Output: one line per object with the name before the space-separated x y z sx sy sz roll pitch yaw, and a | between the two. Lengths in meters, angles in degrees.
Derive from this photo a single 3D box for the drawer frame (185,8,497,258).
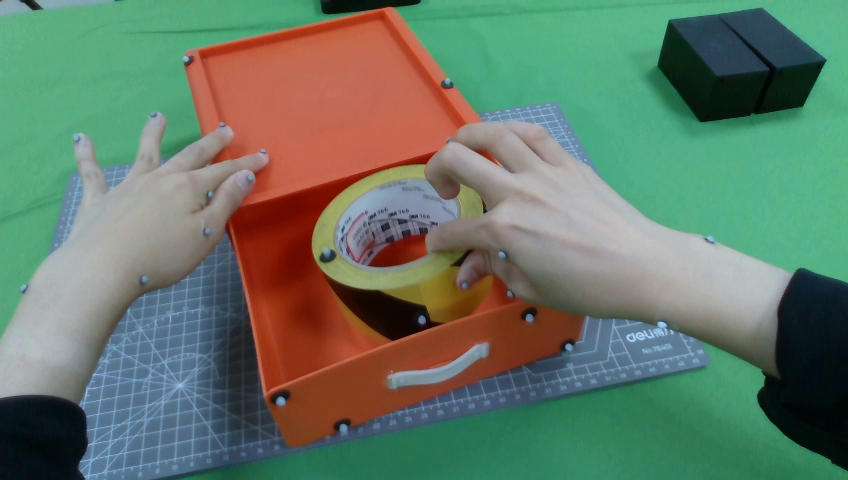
drawer frame | -0.076 -0.092 0.504 0.202 0.083 0.211 -19 49 -13

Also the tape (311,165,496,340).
tape | -0.013 0.005 0.394 0.117 0.053 0.115 -8 44 8

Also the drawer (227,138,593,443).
drawer | -0.025 0.006 0.417 0.195 0.074 0.209 -17 49 -12
